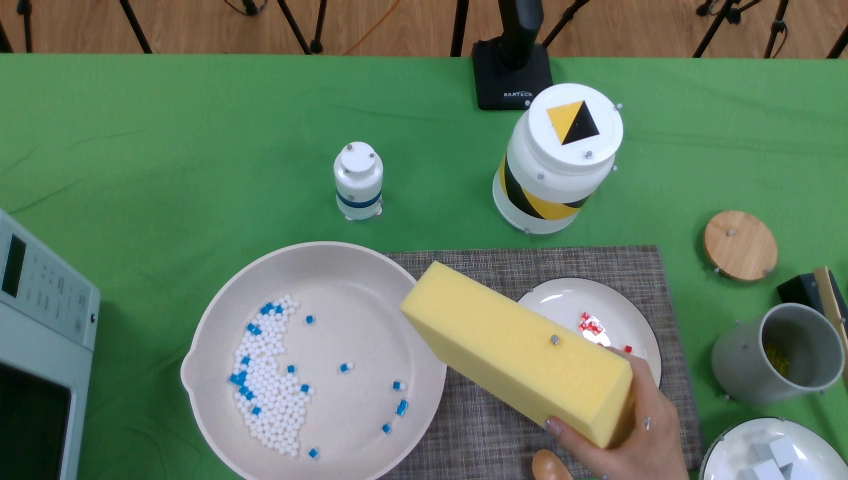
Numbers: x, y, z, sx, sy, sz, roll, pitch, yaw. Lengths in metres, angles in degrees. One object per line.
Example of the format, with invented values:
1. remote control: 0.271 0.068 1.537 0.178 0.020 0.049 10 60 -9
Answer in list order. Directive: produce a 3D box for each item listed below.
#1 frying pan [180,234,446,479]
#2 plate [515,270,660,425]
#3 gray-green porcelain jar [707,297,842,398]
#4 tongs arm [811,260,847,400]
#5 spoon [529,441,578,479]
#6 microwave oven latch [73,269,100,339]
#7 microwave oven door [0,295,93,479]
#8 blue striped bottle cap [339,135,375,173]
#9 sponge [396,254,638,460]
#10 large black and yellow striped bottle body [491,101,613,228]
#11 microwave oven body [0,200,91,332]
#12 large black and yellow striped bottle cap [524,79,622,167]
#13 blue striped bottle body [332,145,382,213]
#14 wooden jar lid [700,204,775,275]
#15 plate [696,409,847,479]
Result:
1. frying pan: -0.113 0.228 0.672 0.307 0.103 0.483 -3 61 -5
2. plate: 0.194 0.141 0.775 0.209 0.038 0.207 2 69 -5
3. gray-green porcelain jar: 0.429 0.139 0.758 0.106 0.127 0.105 2 68 -5
4. tongs arm: 0.563 0.212 0.763 0.051 0.026 0.383 -6 80 -10
5. spoon: 0.202 0.310 0.719 0.193 0.022 0.041 37 52 7
6. microwave oven latch: -0.406 0.076 0.718 0.030 0.029 0.078 0 69 -7
7. microwave oven door: -0.386 0.241 0.545 0.039 0.245 0.353 -1 68 -6
8. blue striped bottle cap: -0.083 -0.106 0.745 0.044 0.021 0.044 2 65 -3
9. sponge: 0.084 0.104 0.557 0.205 0.119 0.061 27 71 35
10. large black and yellow striped bottle body: 0.168 -0.108 0.796 0.131 0.185 0.130 2 68 -5
11. microwave oven body: -0.534 0.206 0.548 0.327 0.261 0.438 -1 69 -7
12. large black and yellow striped bottle cap: 0.176 -0.140 0.716 0.115 0.019 0.114 2 67 -5
13. blue striped bottle body: -0.087 -0.087 0.793 0.063 0.121 0.062 2 68 -5
14. wooden jar lid: 0.448 0.001 0.872 0.108 0.021 0.107 2 70 -5
15. plate: 0.428 0.314 0.738 0.208 0.039 0.206 2 68 -5
